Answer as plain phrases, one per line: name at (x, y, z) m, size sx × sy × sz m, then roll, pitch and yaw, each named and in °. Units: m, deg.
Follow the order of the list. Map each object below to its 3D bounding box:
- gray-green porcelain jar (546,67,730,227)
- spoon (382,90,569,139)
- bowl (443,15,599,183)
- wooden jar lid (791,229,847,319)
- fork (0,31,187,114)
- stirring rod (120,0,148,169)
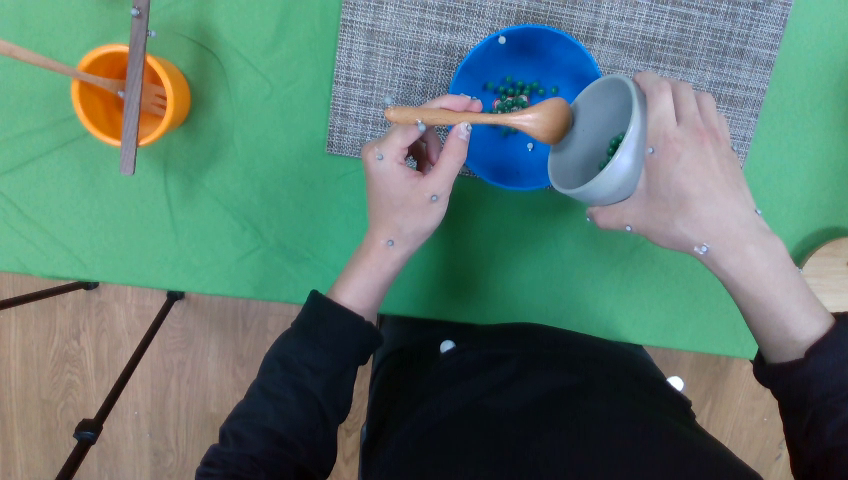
gray-green porcelain jar at (0.188, -0.075, 0.527) m, size 0.127 × 0.105 × 0.106 m, roll 20°, pitch 105°, yaw -23°
spoon at (0.049, -0.102, 0.485) m, size 0.195 × 0.021 × 0.042 m, roll -5°, pitch 111°, yaw -31°
bowl at (0.091, -0.136, 0.595) m, size 0.151 × 0.076 × 0.152 m, roll -1°, pitch 107°, yaw -2°
wooden jar lid at (0.475, 0.038, 0.701) m, size 0.108 × 0.020 × 0.109 m, roll -1°, pitch 107°, yaw -2°
fork at (-0.310, -0.155, 0.536) m, size 0.209 × 0.018 × 0.028 m, roll 14°, pitch 113°, yaw -52°
stirring rod at (-0.257, -0.150, 0.537) m, size 0.014 × 0.006 × 0.177 m, roll 10°, pitch 106°, yaw -8°
